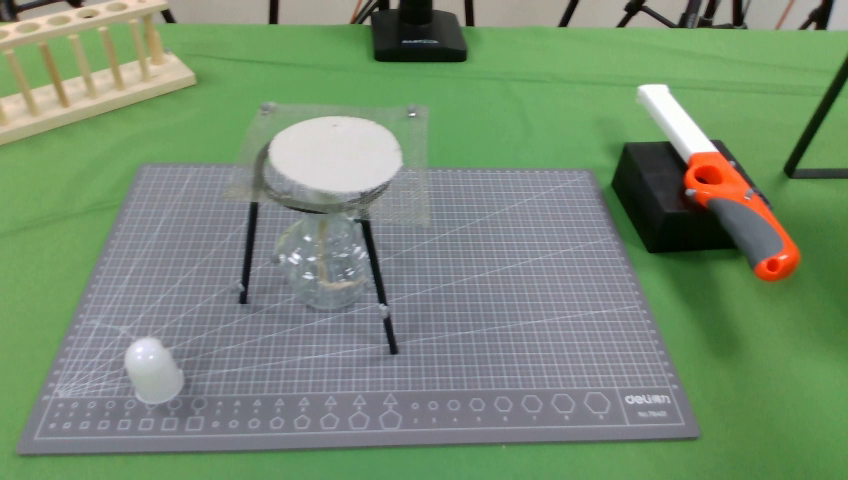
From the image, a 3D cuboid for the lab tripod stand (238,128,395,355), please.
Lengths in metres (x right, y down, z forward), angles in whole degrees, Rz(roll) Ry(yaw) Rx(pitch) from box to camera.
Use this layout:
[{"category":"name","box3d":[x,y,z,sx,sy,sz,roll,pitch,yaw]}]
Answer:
[{"category":"lab tripod stand","box3d":[-0.066,0.000,0.440,0.148,0.132,0.147,4,44,-4]}]

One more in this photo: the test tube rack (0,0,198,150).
[{"category":"test tube rack","box3d":[-0.372,-0.172,0.627,0.242,0.086,0.066,-29,54,-30]}]

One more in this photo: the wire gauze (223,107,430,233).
[{"category":"wire gauze","box3d":[-0.057,-0.054,0.398,0.125,0.011,0.120,5,44,-3]}]

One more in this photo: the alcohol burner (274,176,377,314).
[{"category":"alcohol burner","box3d":[-0.075,0.000,0.453,0.078,0.120,0.077,2,46,-1]}]

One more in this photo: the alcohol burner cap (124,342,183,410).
[{"category":"alcohol burner cap","box3d":[-0.183,0.087,0.405,0.034,0.048,0.033,4,44,-3]}]

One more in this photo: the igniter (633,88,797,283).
[{"category":"igniter","box3d":[0.252,-0.063,0.545,0.057,0.025,0.273,-4,42,-5]}]
